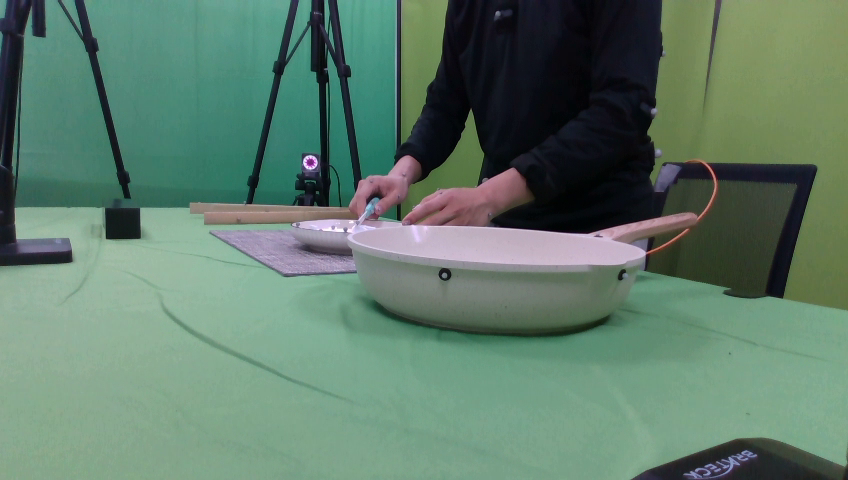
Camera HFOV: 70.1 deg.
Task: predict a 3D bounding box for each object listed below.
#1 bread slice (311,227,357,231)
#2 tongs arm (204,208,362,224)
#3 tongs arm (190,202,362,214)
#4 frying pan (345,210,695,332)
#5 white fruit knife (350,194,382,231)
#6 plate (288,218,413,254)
[{"bbox_3d":[-0.115,-0.005,0.950,0.134,0.018,0.107,3,6,-7],"label":"bread slice"},{"bbox_3d":[-0.292,-0.054,1.337,0.390,0.028,0.028,-4,7,-40],"label":"tongs arm"},{"bbox_3d":[-0.333,-0.069,1.403,0.387,0.026,0.050,-1,9,-28],"label":"tongs arm"},{"bbox_3d":[0.153,0.009,0.668,0.490,0.102,0.305,-12,15,-32],"label":"frying pan"},{"bbox_3d":[-0.096,-0.046,1.002,0.016,0.027,0.207,23,18,-1],"label":"white fruit knife"},{"bbox_3d":[-0.109,-0.007,0.956,0.208,0.039,0.207,2,7,0],"label":"plate"}]
